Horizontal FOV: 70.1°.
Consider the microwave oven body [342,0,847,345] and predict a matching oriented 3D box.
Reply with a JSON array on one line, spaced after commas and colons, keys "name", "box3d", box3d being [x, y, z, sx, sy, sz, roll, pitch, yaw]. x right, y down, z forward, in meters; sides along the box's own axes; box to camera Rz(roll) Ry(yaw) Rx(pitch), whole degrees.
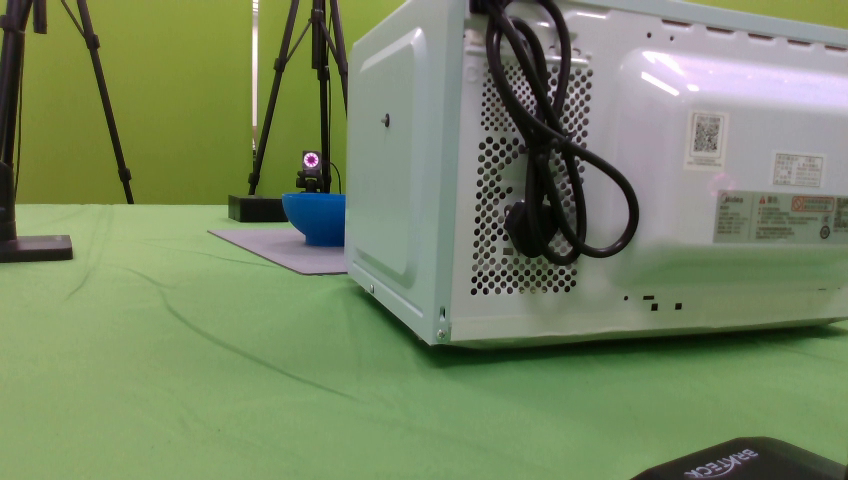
[{"name": "microwave oven body", "box3d": [0.169, -0.060, 0.573, 0.444, 0.260, 0.324, 1, 7, -20]}]

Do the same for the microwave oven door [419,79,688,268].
[{"name": "microwave oven door", "box3d": [0.165, -0.099, 0.843, 0.355, 0.243, 0.039, 5, 9, 21]}]

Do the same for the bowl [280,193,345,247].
[{"name": "bowl", "box3d": [-0.153, -0.032, 0.970, 0.151, 0.077, 0.151, 3, 7, 0]}]

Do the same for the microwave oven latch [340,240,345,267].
[{"name": "microwave oven latch", "box3d": [-0.052, 0.016, 0.662, 0.079, 0.029, 0.030, 1, 7, -18]}]
